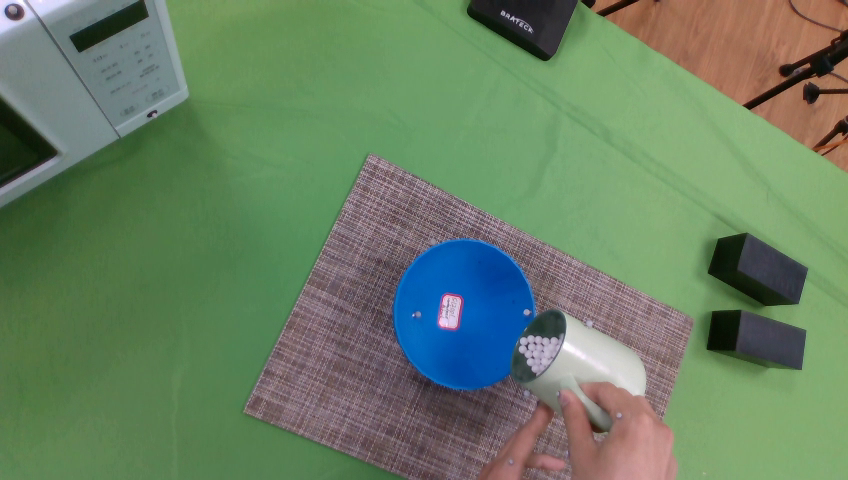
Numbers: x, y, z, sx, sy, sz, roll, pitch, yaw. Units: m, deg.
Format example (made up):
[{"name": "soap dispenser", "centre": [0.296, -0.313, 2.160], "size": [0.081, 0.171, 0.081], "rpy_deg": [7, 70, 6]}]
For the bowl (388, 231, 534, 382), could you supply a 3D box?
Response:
[{"name": "bowl", "centre": [0.029, 0.070, 0.633], "size": [0.152, 0.077, 0.151], "rpy_deg": [2, 82, -16]}]

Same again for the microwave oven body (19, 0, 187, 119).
[{"name": "microwave oven body", "centre": [-0.462, -0.172, 0.427], "size": [0.441, 0.260, 0.326], "rpy_deg": [-37, 94, -16]}]

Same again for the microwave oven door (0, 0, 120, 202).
[{"name": "microwave oven door", "centre": [-0.407, -0.031, 0.420], "size": [0.355, 0.243, 0.039], "rpy_deg": [-37, 93, -17]}]

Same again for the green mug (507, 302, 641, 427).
[{"name": "green mug", "centre": [0.146, 0.126, 0.568], "size": [0.105, 0.124, 0.092], "rpy_deg": [35, 104, -17]}]

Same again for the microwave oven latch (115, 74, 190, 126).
[{"name": "microwave oven latch", "centre": [-0.265, -0.142, 0.581], "size": [0.079, 0.029, 0.030], "rpy_deg": [-35, 94, -17]}]
